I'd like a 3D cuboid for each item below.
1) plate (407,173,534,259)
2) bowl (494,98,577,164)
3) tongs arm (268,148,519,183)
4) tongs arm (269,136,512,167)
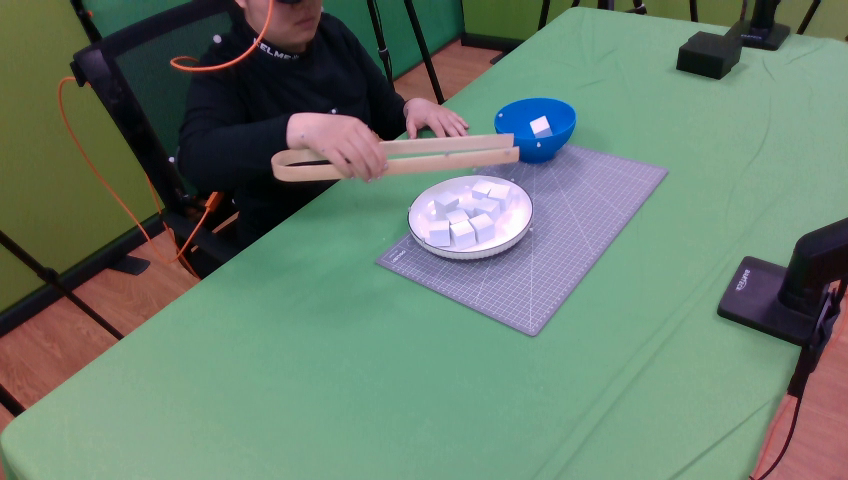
[{"bbox_3d":[0.076,-0.037,0.997,0.207,0.039,0.206,-5,40,5],"label":"plate"},{"bbox_3d":[0.207,-0.196,1.128,0.151,0.077,0.150,-5,40,5],"label":"bowl"},{"bbox_3d":[-0.045,-0.123,0.942,0.386,0.026,0.050,-7,38,-8],"label":"tongs arm"},{"bbox_3d":[-0.048,-0.140,0.965,0.388,0.028,0.028,-6,42,-6],"label":"tongs arm"}]
